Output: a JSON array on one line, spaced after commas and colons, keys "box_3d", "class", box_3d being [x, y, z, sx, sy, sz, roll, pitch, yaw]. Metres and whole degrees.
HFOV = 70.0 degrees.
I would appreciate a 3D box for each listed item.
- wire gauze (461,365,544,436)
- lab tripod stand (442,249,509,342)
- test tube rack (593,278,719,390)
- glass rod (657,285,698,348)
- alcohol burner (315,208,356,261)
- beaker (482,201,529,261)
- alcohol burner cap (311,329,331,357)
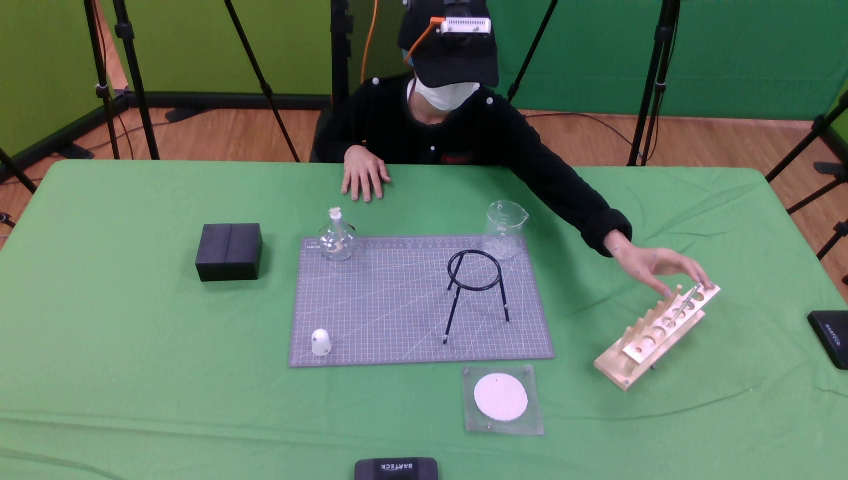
[{"box_3d": [0.124, 0.254, 0.973, 0.125, 0.011, 0.120, 3, 47, -3], "class": "wire gauze"}, {"box_3d": [0.082, 0.091, 1.036, 0.148, 0.132, 0.147, 3, 44, -3], "class": "lab tripod stand"}, {"box_3d": [0.401, 0.148, 1.043, 0.242, 0.085, 0.066, -30, 55, -29], "class": "test tube rack"}, {"box_3d": [0.402, 0.127, 0.971, 0.008, 0.201, 0.008, 0, 54, 1], "class": "glass rod"}, {"box_3d": [-0.166, -0.017, 1.135, 0.078, 0.120, 0.077, 2, 48, -2], "class": "alcohol burner"}, {"box_3d": [0.153, -0.015, 1.169, 0.084, 0.101, 0.073, -2, 46, -7], "class": "beaker"}, {"box_3d": [-0.173, 0.168, 1.004, 0.034, 0.048, 0.033, 2, 46, -2], "class": "alcohol burner cap"}]
